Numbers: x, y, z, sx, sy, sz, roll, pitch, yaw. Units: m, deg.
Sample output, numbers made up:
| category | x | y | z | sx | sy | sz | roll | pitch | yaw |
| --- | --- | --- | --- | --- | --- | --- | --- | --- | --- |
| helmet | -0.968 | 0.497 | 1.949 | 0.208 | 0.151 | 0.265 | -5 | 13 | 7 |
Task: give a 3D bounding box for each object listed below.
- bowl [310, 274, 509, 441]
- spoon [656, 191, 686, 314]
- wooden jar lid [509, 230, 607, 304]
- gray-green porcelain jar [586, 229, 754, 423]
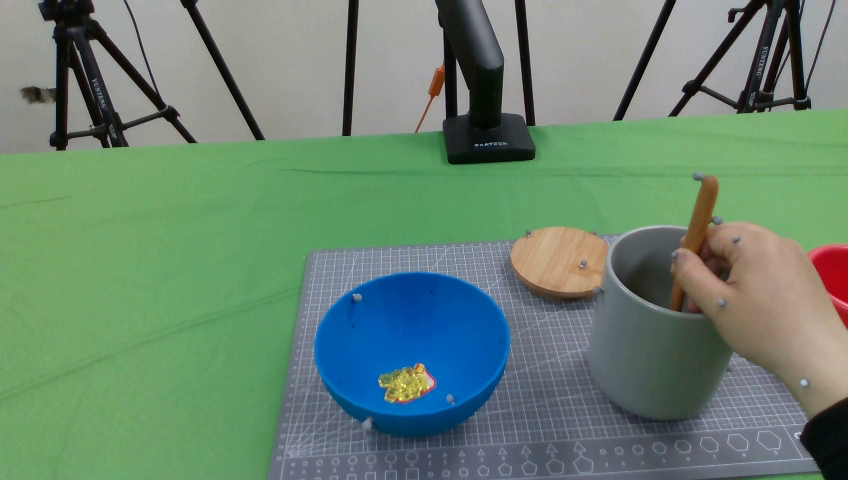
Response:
| category | x | y | z | sx | sy | sz | roll | pitch | yaw |
| --- | --- | --- | --- | --- | --- | --- | --- | --- | --- |
| bowl | -0.009 | 0.105 | 0.483 | 0.151 | 0.077 | 0.150 | -1 | 37 | 1 |
| spoon | 0.180 | 0.053 | 0.448 | 0.021 | 0.195 | 0.041 | -17 | 32 | -8 |
| wooden jar lid | 0.141 | 0.029 | 0.625 | 0.108 | 0.021 | 0.107 | -2 | 36 | 2 |
| gray-green porcelain jar | 0.186 | 0.072 | 0.477 | 0.106 | 0.127 | 0.105 | -1 | 37 | 1 |
